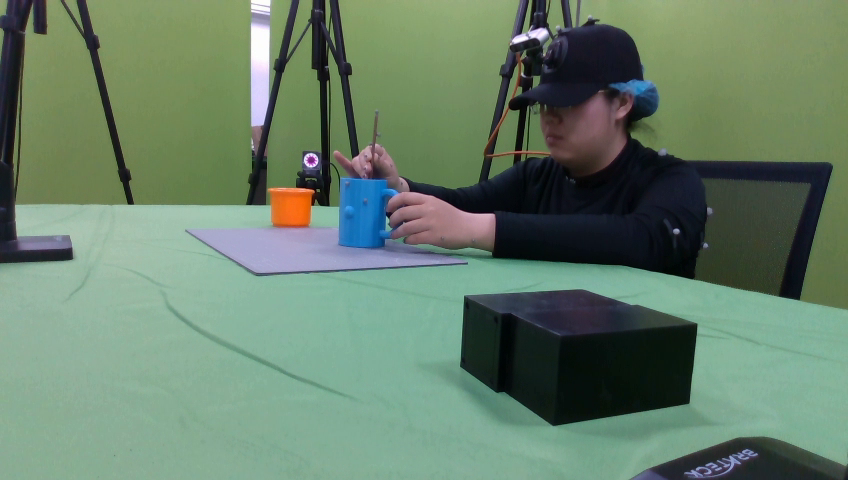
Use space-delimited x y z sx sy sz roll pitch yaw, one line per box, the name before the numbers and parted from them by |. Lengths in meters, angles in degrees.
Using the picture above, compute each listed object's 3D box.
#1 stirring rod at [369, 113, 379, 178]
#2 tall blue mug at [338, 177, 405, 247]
stirring rod | -0.083 -0.114 0.956 0.006 0.176 0.014 6 0 -13
tall blue mug | -0.083 -0.045 0.973 0.107 0.108 0.078 2 6 0
